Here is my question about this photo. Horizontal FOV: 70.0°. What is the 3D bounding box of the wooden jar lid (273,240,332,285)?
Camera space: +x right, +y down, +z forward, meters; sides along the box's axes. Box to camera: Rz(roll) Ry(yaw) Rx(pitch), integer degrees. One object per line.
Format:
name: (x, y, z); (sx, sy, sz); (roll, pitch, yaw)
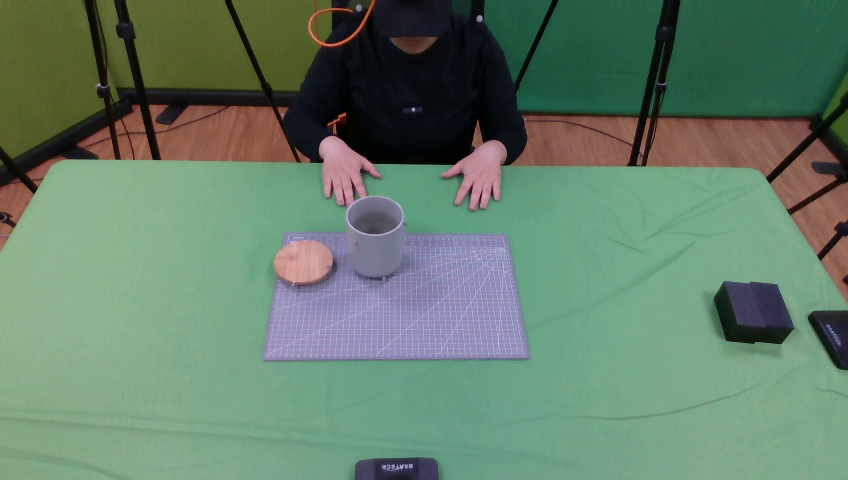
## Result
wooden jar lid: (-0.227, 0.044, 1.137); (0.108, 0.021, 0.107); (3, 47, -3)

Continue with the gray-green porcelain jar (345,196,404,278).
gray-green porcelain jar: (-0.091, -0.001, 1.117); (0.106, 0.127, 0.105); (2, 46, -2)
